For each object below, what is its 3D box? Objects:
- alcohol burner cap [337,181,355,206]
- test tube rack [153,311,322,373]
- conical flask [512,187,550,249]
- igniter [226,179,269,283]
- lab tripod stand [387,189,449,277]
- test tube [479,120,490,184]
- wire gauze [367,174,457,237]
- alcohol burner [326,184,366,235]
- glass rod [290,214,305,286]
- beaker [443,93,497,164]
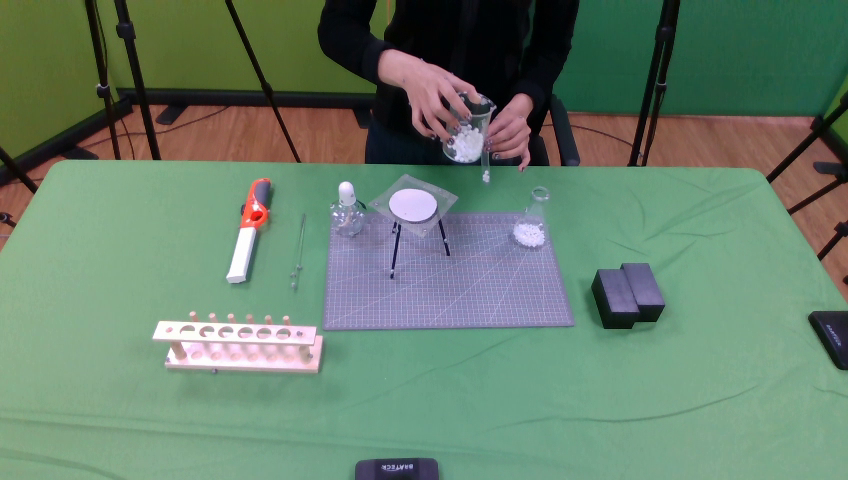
[{"bbox_3d":[-0.151,-0.090,1.157,0.034,0.048,0.033,0,52,0],"label":"alcohol burner cap"},{"bbox_3d":[-0.293,0.160,0.978,0.242,0.085,0.066,3,46,-2],"label":"test tube rack"},{"bbox_3d":[0.217,-0.048,1.190,0.075,0.122,0.075,2,46,-2],"label":"conical flask"},{"bbox_3d":[-0.345,-0.027,1.195,0.057,0.025,0.274,-6,46,5],"label":"igniter"},{"bbox_3d":[-0.021,-0.018,1.135,0.148,0.132,0.147,3,44,-3],"label":"lab tripod stand"},{"bbox_3d":[0.112,-0.159,1.119,0.017,0.151,0.017,-4,51,5],"label":"test tube"},{"bbox_3d":[-0.021,-0.067,1.089,0.124,0.011,0.121,28,49,21],"label":"wire gauze"},{"bbox_3d":[-0.152,-0.066,1.184,0.078,0.119,0.077,4,46,-4],"label":"alcohol burner"},{"bbox_3d":[-0.245,0.015,1.176,0.008,0.008,0.198,1,43,-3],"label":"glass rod"},{"bbox_3d":[0.075,-0.186,1.023,0.084,0.101,0.073,-5,46,-15],"label":"beaker"}]
